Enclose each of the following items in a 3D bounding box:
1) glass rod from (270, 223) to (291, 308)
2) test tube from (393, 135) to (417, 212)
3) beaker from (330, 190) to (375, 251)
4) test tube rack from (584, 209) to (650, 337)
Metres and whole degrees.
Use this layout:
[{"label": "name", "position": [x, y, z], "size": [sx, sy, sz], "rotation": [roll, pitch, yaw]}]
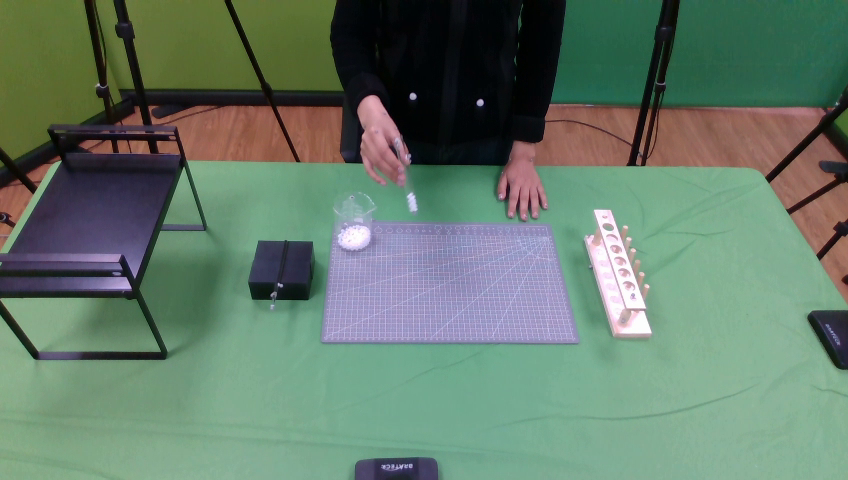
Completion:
[{"label": "glass rod", "position": [-0.255, 0.041, 1.082], "size": [0.008, 0.008, 0.198], "rotation": [2, 46, -2]}, {"label": "test tube", "position": [-0.032, -0.113, 1.056], "size": [0.017, 0.151, 0.017], "rotation": [-8, 33, 6]}, {"label": "beaker", "position": [-0.135, -0.034, 1.163], "size": [0.084, 0.101, 0.073], "rotation": [3, 46, -3]}, {"label": "test tube rack", "position": [0.365, 0.056, 1.129], "size": [0.067, 0.085, 0.240], "rotation": [1, 46, -4]}]
